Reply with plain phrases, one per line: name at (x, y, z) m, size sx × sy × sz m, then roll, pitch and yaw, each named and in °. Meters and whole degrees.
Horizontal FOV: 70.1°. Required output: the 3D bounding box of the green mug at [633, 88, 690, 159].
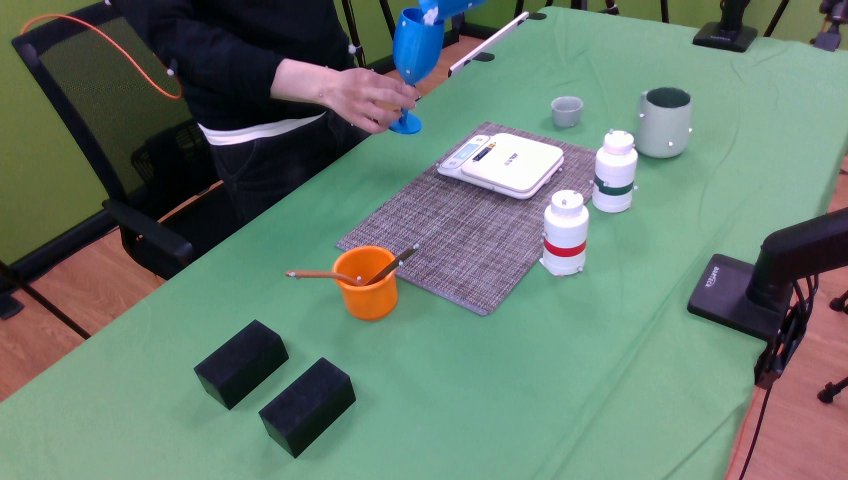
green mug at (0.423, -0.217, 1.099) m, size 0.093 × 0.105 × 0.124 m, roll -16°, pitch 41°, yaw -10°

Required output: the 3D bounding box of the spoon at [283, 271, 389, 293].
spoon at (-0.117, 0.054, 0.825) m, size 0.041 × 0.195 × 0.021 m, roll 17°, pitch 89°, yaw 38°

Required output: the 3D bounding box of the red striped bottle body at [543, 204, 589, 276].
red striped bottle body at (0.205, -0.011, 0.878) m, size 0.063 × 0.120 × 0.062 m, roll -5°, pitch 40°, yaw 4°

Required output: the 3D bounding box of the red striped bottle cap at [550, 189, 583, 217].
red striped bottle cap at (0.199, -0.052, 0.843) m, size 0.044 × 0.018 × 0.044 m, roll -2°, pitch 42°, yaw 2°

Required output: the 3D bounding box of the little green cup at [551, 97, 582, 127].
little green cup at (0.284, -0.255, 1.213) m, size 0.061 × 0.039 × 0.061 m, roll -4°, pitch 41°, yaw 4°

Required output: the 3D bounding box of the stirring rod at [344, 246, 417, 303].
stirring rod at (-0.062, 0.050, 0.819) m, size 0.014 × 0.175 × 0.006 m, roll -1°, pitch 63°, yaw -40°

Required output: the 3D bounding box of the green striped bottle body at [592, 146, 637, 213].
green striped bottle body at (0.307, -0.108, 0.976) m, size 0.063 × 0.120 × 0.063 m, roll -4°, pitch 41°, yaw 4°

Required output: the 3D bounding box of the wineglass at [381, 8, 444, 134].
wineglass at (-0.019, -0.249, 0.902) m, size 0.074 × 0.172 × 0.073 m, roll 9°, pitch 40°, yaw -7°

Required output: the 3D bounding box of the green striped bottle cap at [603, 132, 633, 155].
green striped bottle cap at (0.301, -0.149, 0.938) m, size 0.044 × 0.020 × 0.044 m, roll -3°, pitch 39°, yaw 3°

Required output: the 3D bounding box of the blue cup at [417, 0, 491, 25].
blue cup at (0.047, -0.355, 0.840) m, size 0.100 × 0.093 × 0.092 m, roll -20°, pitch 42°, yaw -14°

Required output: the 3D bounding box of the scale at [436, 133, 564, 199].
scale at (0.137, -0.142, 1.101) m, size 0.199 × 0.032 × 0.149 m, roll 22°, pitch 48°, yaw 30°
